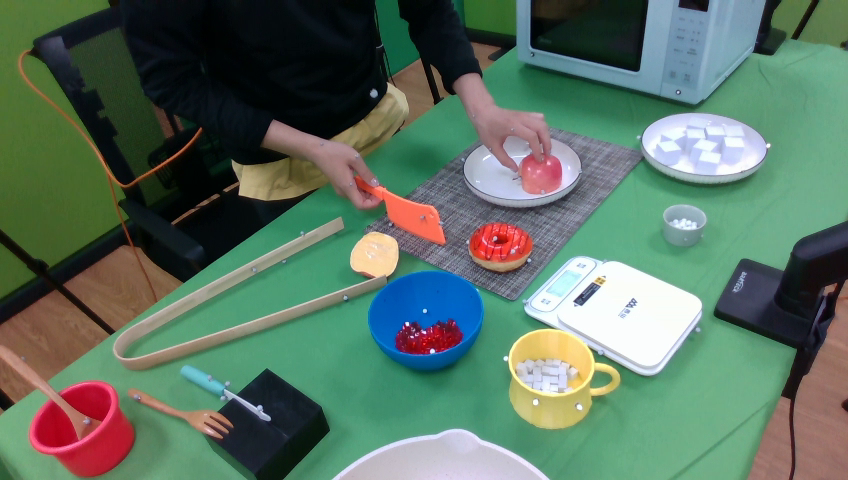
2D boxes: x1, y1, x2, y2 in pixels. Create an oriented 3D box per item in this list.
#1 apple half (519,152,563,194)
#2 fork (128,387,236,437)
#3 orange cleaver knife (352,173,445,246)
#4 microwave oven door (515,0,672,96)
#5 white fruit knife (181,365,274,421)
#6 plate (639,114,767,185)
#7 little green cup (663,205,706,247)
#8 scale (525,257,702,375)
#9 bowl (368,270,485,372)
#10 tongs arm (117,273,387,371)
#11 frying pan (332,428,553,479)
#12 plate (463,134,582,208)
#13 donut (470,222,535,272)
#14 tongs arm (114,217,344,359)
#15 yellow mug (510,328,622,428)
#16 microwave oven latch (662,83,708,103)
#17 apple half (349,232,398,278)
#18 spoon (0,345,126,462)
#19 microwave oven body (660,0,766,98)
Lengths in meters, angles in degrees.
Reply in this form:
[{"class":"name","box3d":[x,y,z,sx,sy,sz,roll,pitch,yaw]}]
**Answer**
[{"class":"apple half","box3d":[0.203,-0.124,1.047,0.074,0.053,0.080,-2,41,4]},{"class":"fork","box3d":[-0.305,0.207,0.744,0.206,0.019,0.028,3,42,36]},{"class":"orange cleaver knife","box3d":[-0.045,-0.052,0.994,0.209,0.077,0.012,28,46,35]},{"class":"microwave oven door","box3d":[0.343,-0.455,1.259,0.353,0.245,0.039,26,51,33]},{"class":"white fruit knife","box3d":[-0.245,0.187,0.747,0.205,0.027,0.016,9,41,40]},{"class":"plate","box3d":[0.489,-0.157,1.074,0.207,0.039,0.206,-4,40,4]},{"class":"little green cup","box3d":[0.396,-0.020,0.926,0.061,0.039,0.061,-4,40,4]},{"class":"scale","box3d":[0.254,0.091,0.821,0.199,0.032,0.149,28,51,35]},{"class":"bowl","box3d":[0.007,0.118,0.791,0.151,0.077,0.150,-5,40,4]},{"class":"tongs arm","box3d":[-0.237,0.115,0.870,0.389,0.028,0.028,-18,49,-12]},{"class":"frying pan","box3d":[-0.089,0.306,0.564,0.487,0.103,0.306,10,41,7]},{"class":"plate","box3d":[0.173,-0.119,1.070,0.209,0.038,0.208,-4,40,4]},{"class":"donut","box3d":[0.119,0.009,0.923,0.099,0.048,0.098,-4,38,3]},{"class":"tongs arm","box3d":[-0.280,0.068,0.927,0.386,0.026,0.050,-29,49,-22]},{"class":"yellow mug","box3d":[0.169,0.164,0.722,0.130,0.064,0.099,0,41,8]},{"class":"microwave oven latch","box3d":[0.517,-0.296,1.204,0.078,0.029,0.030,28,52,35]},{"class":"apple half","box3d":[-0.073,0.028,0.938,0.081,0.033,0.081,-3,68,8]},{"class":"spoon","box3d":[-0.434,0.192,0.720,0.194,0.021,0.042,47,53,-7]},{"class":"microwave oven body","box3d":[0.472,-0.513,1.317,0.438,0.261,0.327,26,51,34]}]
